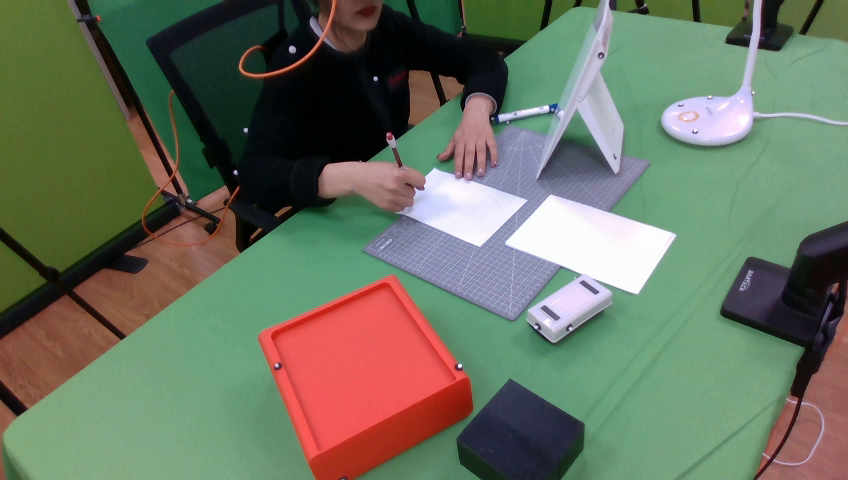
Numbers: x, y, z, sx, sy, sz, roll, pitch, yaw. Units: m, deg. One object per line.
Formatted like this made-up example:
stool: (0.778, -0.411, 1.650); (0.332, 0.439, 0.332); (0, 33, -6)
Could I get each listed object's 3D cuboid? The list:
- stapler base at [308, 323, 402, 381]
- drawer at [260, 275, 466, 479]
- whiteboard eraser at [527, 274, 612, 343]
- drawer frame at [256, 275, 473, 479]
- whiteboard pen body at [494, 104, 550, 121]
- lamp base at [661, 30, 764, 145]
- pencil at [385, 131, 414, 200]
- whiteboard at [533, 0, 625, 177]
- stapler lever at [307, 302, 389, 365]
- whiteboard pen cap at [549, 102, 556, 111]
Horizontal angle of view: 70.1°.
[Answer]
stapler base: (-0.094, 0.142, 0.812); (0.131, 0.024, 0.041); (-25, 29, -17)
drawer: (-0.080, 0.162, 0.760); (0.195, 0.073, 0.210); (-22, 42, -16)
whiteboard eraser: (0.198, 0.094, 0.820); (0.113, 0.042, 0.055); (-30, 43, -22)
drawer frame: (-0.078, 0.164, 0.756); (0.202, 0.083, 0.211); (-23, 43, -17)
whiteboard pen body: (0.216, -0.268, 1.256); (0.141, 0.017, 0.017); (-12, 40, -4)
lamp base: (0.535, -0.287, 1.096); (0.179, 0.181, 0.159); (-10, 40, -4)
pencil: (-0.037, -0.118, 1.001); (0.012, 0.195, 0.012); (-5, 61, 10)
whiteboard: (0.321, -0.258, 1.049); (0.144, 0.306, 0.217); (20, 45, 4)
stapler lever: (-0.101, 0.121, 0.799); (0.118, 0.040, 0.026); (-26, 29, -17)
whiteboard pen cap: (0.273, -0.279, 1.259); (0.033, 0.018, 0.018); (-10, 40, -4)
